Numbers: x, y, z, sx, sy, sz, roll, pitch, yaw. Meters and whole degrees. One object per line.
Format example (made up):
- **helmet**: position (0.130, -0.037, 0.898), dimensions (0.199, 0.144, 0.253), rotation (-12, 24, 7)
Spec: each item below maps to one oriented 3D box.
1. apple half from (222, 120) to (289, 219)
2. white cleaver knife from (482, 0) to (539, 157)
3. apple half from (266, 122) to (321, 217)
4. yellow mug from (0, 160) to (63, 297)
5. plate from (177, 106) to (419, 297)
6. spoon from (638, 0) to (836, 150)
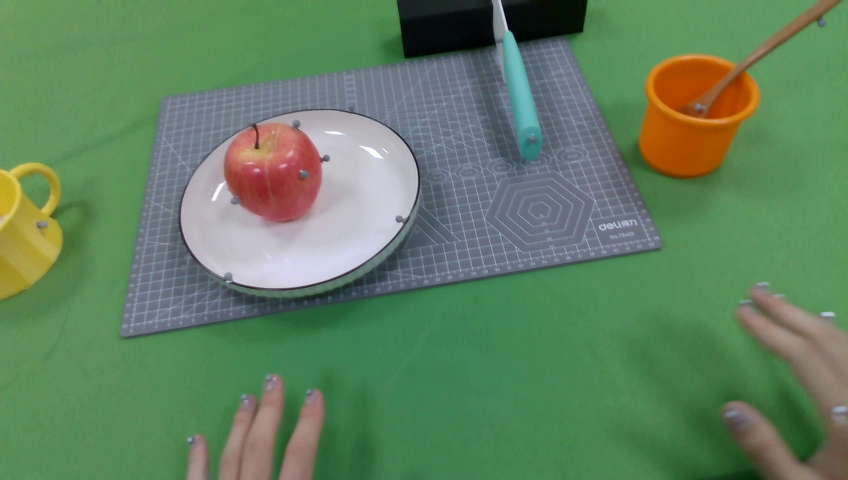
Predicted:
- **apple half**: position (-0.143, -0.059, 0.522), dimensions (0.053, 0.075, 0.080), rotation (-1, 57, 10)
- **white cleaver knife**: position (0.081, -0.204, 0.621), dimensions (0.021, 0.066, 0.284), rotation (-8, 64, 2)
- **apple half**: position (-0.104, -0.059, 0.518), dimensions (0.033, 0.082, 0.080), rotation (-2, 54, 10)
- **yellow mug**: position (-0.374, -0.019, 0.531), dimensions (0.099, 0.064, 0.130), rotation (20, 57, 18)
- **plate**: position (-0.107, -0.035, 0.535), dimensions (0.209, 0.038, 0.207), rotation (-2, 54, 3)
- **spoon**: position (0.266, -0.144, 0.516), dimensions (0.022, 0.194, 0.041), rotation (20, 40, -36)
